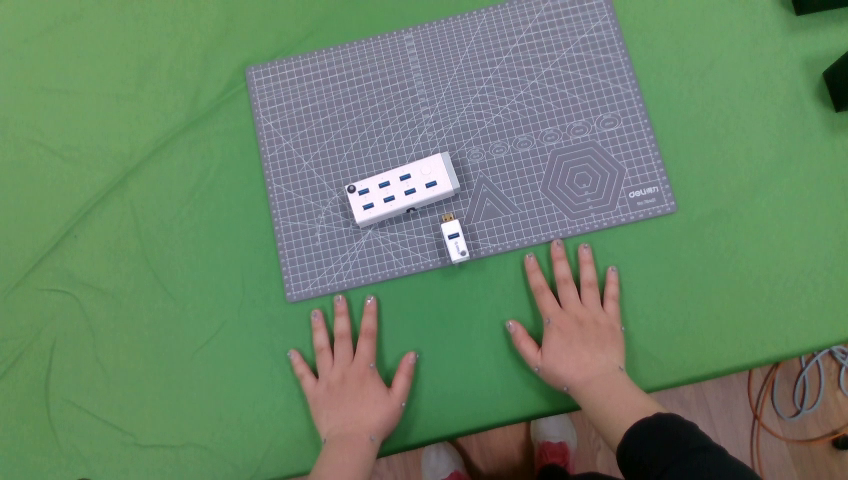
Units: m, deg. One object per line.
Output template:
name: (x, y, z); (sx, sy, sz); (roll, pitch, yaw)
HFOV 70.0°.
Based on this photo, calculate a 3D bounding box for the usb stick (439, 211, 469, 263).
usb stick: (0.031, -0.005, 0.675); (0.021, 0.027, 0.059); (-18, 75, 5)

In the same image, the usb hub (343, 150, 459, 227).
usb hub: (-0.026, -0.059, 0.690); (0.125, 0.025, 0.049); (-19, 78, 1)
